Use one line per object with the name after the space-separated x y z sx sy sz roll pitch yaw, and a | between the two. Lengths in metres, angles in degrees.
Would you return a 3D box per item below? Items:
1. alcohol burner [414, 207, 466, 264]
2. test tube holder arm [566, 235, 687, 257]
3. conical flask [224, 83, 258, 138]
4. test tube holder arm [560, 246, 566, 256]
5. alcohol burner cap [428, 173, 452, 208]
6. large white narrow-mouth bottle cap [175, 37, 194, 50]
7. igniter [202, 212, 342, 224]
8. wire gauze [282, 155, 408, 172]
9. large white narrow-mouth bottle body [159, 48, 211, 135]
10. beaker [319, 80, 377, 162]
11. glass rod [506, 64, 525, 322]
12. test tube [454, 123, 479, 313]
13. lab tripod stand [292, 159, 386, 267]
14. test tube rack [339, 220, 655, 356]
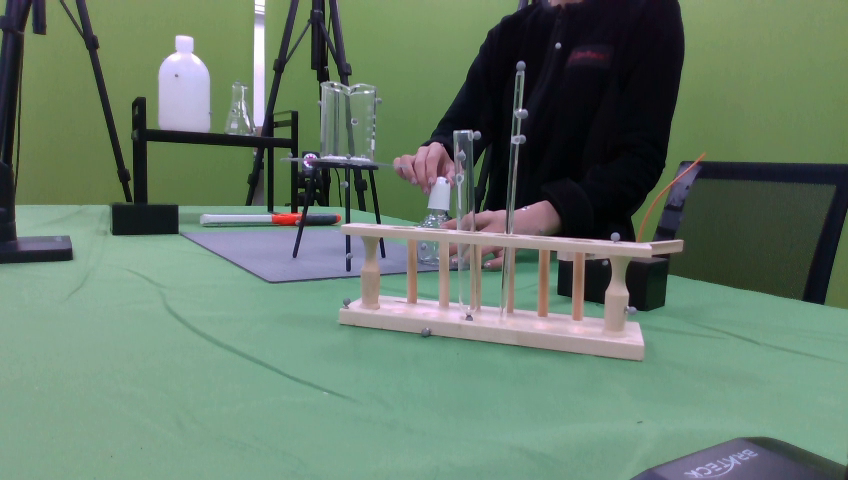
0.021 -0.028 0.826 0.078 0.119 0.078 0 6 0 | alcohol burner
0.215 0.006 0.629 0.179 0.015 0.013 -3 10 -30 | test tube holder arm
-0.422 -0.299 1.395 0.075 0.122 0.075 2 7 0 | conical flask
0.173 0.007 0.611 0.088 0.015 0.010 -3 10 -30 | test tube holder arm
0.024 -0.067 0.822 0.034 0.048 0.034 6 3 0 | alcohol burner cap
-0.501 -0.409 1.264 0.038 0.024 0.037 2 7 0 | large white narrow-mouth bottle cap
-0.298 -0.044 1.216 0.278 0.025 0.057 -2 -2 -32 | igniter
-0.104 -0.103 0.784 0.126 0.011 0.121 1 8 -39 | wire gauze
-0.503 -0.322 1.275 0.102 0.194 0.102 2 7 0 | large white narrow-mouth bottle body
-0.098 -0.150 0.777 0.074 0.100 0.084 1 7 -7 | beaker
0.069 -0.030 0.458 0.008 0.199 0.008 0 15 0 | glass rod
0.034 -0.016 0.477 0.017 0.150 0.017 -2 9 1 | test tube
-0.105 -0.039 0.797 0.148 0.131 0.148 2 5 0 | lab tripod stand
0.056 0.032 0.495 0.242 0.085 0.067 4 7 15 | test tube rack
